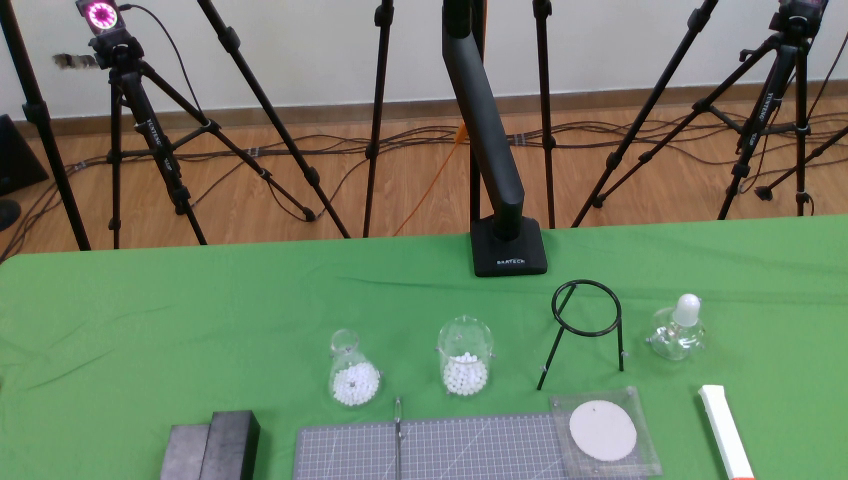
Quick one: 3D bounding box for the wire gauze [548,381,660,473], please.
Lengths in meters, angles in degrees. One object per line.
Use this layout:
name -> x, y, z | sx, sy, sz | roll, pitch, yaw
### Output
wire gauze -> 0.238, 0.249, 0.811 | 0.125, 0.011, 0.120 | -4, 49, -1

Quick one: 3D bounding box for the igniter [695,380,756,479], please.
igniter -> 0.394, 0.301, 0.750 | 0.057, 0.025, 0.273 | 5, 49, -7

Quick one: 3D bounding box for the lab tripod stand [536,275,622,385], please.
lab tripod stand -> 0.211, 0.125, 0.839 | 0.148, 0.133, 0.147 | -1, 51, 1

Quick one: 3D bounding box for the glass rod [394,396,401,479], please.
glass rod -> -0.033, 0.293, 0.782 | 0.008, 0.008, 0.197 | -3, 49, -1

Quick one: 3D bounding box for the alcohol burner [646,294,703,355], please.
alcohol burner -> 0.359, 0.112, 0.858 | 0.078, 0.120, 0.077 | -2, 51, 3

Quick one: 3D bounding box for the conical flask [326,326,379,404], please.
conical flask -> -0.103, 0.165, 0.824 | 0.075, 0.123, 0.074 | -1, 49, 2

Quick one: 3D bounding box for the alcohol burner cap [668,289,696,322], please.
alcohol burner cap -> 0.357, 0.087, 0.831 | 0.034, 0.048, 0.033 | -5, 47, 5

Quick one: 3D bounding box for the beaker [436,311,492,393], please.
beaker -> 0.055, 0.158, 0.840 | 0.074, 0.101, 0.083 | -1, 48, 1
